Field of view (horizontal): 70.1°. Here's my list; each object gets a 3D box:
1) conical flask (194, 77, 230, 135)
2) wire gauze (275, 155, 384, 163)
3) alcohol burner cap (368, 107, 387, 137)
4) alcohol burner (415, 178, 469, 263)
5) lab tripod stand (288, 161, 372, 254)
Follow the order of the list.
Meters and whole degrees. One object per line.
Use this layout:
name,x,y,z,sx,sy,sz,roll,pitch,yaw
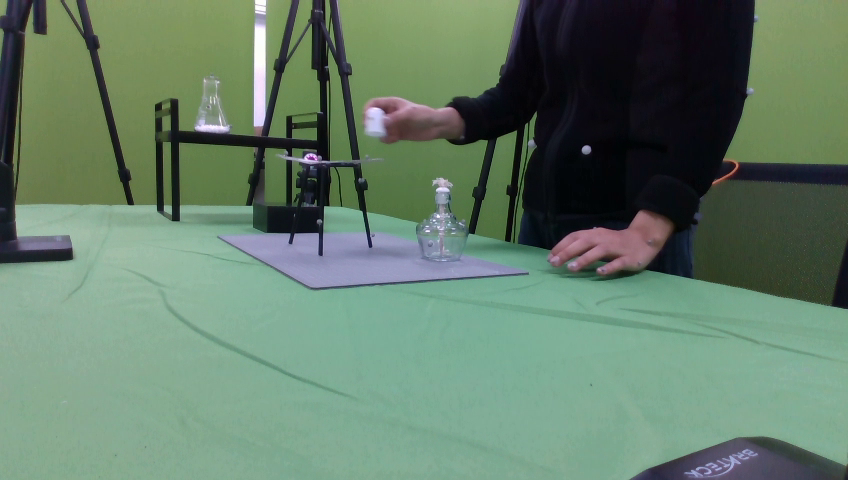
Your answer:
conical flask,-0.461,-0.292,1.317,0.075,0.122,0.075,2,7,0
wire gauze,-0.142,-0.118,0.900,0.122,0.011,0.124,-3,8,-37
alcohol burner cap,-0.078,-0.197,1.004,0.034,0.048,0.034,-1,-6,0
alcohol burner,0.026,-0.028,0.863,0.078,0.119,0.078,1,6,0
lab tripod stand,-0.147,-0.052,0.909,0.148,0.131,0.148,1,8,0
